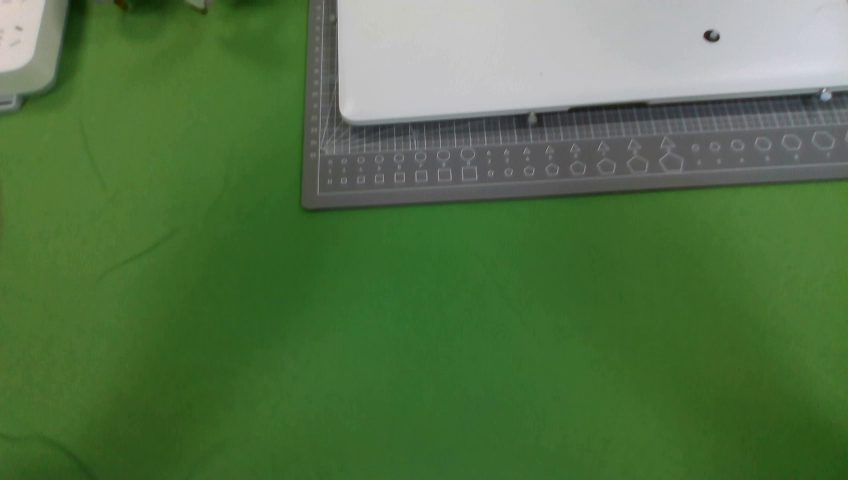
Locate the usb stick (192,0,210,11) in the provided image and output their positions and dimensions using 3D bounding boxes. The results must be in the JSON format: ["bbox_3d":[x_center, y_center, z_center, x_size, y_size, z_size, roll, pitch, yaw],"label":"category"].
[{"bbox_3d":[-0.152,-0.181,0.405,0.021,0.059,0.027,27,68,3],"label":"usb stick"}]

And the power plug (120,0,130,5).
[{"bbox_3d":[-0.219,-0.207,0.430,0.035,0.053,0.072,22,84,18],"label":"power plug"}]

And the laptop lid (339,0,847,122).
[{"bbox_3d":[0.114,-0.196,0.431,0.357,0.013,0.240,-3,68,1],"label":"laptop lid"}]

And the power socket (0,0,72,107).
[{"bbox_3d":[-0.304,-0.201,0.455,0.072,0.033,0.225,-6,66,-1],"label":"power socket"}]

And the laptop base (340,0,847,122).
[{"bbox_3d":[0.115,-0.193,0.442,0.354,0.023,0.234,-4,69,1],"label":"laptop base"}]
